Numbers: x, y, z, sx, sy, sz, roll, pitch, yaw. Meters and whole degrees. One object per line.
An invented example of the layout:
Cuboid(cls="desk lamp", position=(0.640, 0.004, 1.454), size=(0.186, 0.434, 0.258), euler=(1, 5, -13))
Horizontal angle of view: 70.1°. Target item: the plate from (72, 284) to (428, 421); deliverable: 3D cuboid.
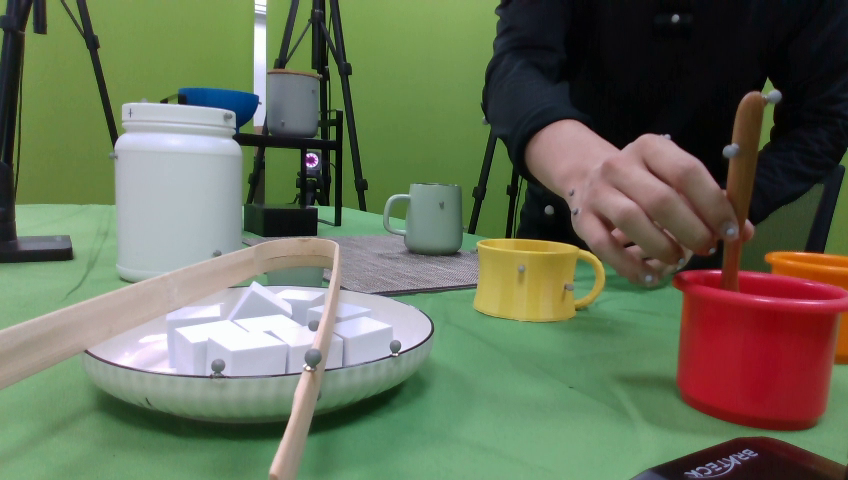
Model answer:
Cuboid(cls="plate", position=(-0.102, 0.067, 0.381), size=(0.208, 0.039, 0.207), euler=(3, 7, 0))

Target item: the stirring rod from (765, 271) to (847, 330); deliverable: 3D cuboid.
Cuboid(cls="stirring rod", position=(0.352, 0.020, 0.481), size=(0.176, 0.006, 0.014), euler=(-40, -7, 17))

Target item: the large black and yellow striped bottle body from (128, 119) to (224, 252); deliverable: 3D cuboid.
Cuboid(cls="large black and yellow striped bottle body", position=(-0.361, -0.081, 0.887), size=(0.131, 0.184, 0.130), euler=(2, 8, 0))

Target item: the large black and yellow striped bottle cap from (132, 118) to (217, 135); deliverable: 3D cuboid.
Cuboid(cls="large black and yellow striped bottle cap", position=(-0.359, -0.164, 0.875), size=(0.115, 0.019, 0.115), euler=(2, 6, 0))

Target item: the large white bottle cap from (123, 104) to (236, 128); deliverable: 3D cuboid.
Cuboid(cls="large white bottle cap", position=(-0.266, -0.135, 0.663), size=(0.115, 0.018, 0.115), euler=(3, 7, 0))

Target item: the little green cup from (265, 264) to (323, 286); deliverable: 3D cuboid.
Cuboid(cls="little green cup", position=(-0.134, 0.033, 0.628), size=(0.061, 0.038, 0.061), euler=(3, 7, 0))

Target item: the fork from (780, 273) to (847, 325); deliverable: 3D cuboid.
Cuboid(cls="fork", position=(0.332, 0.018, 0.443), size=(0.028, 0.018, 0.207), euler=(-2, -35, -16))

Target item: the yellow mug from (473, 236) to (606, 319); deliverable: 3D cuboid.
Cuboid(cls="yellow mug", position=(0.114, 0.034, 0.590), size=(0.131, 0.064, 0.100), euler=(2, 7, -7))

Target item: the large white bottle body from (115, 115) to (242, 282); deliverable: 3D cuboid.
Cuboid(cls="large white bottle body", position=(-0.270, -0.051, 0.673), size=(0.131, 0.184, 0.130), euler=(2, 8, 0))

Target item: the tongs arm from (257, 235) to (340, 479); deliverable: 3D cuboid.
Cuboid(cls="tongs arm", position=(-0.074, 0.040, 0.345), size=(0.051, 0.026, 0.384), euler=(-1, 10, -3))

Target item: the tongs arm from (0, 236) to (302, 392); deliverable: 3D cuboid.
Cuboid(cls="tongs arm", position=(-0.157, 0.038, 0.347), size=(0.028, 0.028, 0.388), euler=(-3, 8, 11))

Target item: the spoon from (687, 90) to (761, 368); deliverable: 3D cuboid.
Cuboid(cls="spoon", position=(0.176, 0.006, 0.349), size=(0.041, 0.194, 0.021), euler=(2, 32, 24))

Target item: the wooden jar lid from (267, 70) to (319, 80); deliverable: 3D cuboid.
Cuboid(cls="wooden jar lid", position=(-0.275, -0.339, 1.271), size=(0.108, 0.020, 0.108), euler=(5, 6, 0))

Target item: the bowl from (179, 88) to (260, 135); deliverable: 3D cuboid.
Cuboid(cls="bowl", position=(-0.400, -0.248, 1.188), size=(0.151, 0.077, 0.151), euler=(3, 6, 0))

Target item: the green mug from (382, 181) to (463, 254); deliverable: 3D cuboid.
Cuboid(cls="green mug", position=(-0.001, -0.036, 0.922), size=(0.126, 0.105, 0.092), euler=(0, 8, -16))

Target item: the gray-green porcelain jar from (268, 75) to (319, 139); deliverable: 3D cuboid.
Cuboid(cls="gray-green porcelain jar", position=(-0.277, -0.278, 1.280), size=(0.106, 0.126, 0.106), euler=(2, 8, 0))
